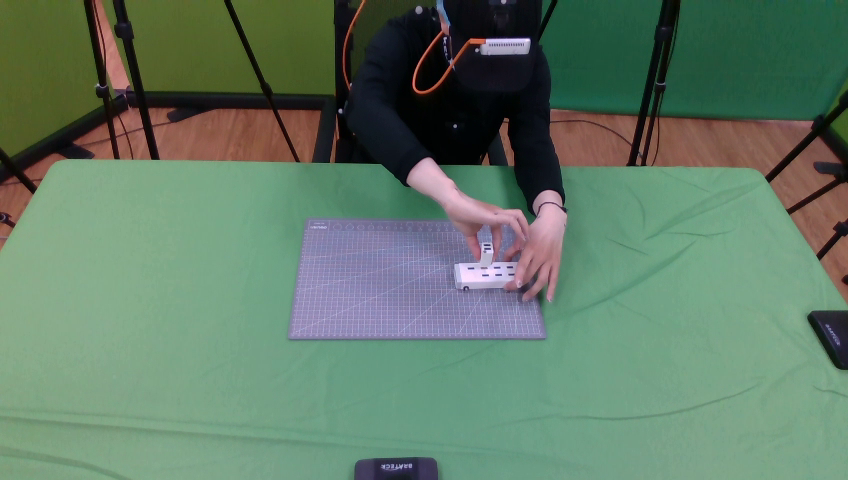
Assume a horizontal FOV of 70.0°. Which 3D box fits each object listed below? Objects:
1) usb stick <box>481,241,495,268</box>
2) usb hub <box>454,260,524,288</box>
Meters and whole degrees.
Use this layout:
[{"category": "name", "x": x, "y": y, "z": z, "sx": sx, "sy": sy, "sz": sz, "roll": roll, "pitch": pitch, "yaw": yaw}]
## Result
[{"category": "usb stick", "x": 0.116, "y": 0.029, "z": 1.114, "sx": 0.021, "sy": 0.059, "sz": 0.027, "roll": 1, "pitch": 52, "yaw": -1}, {"category": "usb hub", "x": 0.122, "y": 0.064, "z": 1.134, "sx": 0.125, "sy": 0.025, "sz": 0.049, "roll": -2, "pitch": 47, "yaw": -4}]
